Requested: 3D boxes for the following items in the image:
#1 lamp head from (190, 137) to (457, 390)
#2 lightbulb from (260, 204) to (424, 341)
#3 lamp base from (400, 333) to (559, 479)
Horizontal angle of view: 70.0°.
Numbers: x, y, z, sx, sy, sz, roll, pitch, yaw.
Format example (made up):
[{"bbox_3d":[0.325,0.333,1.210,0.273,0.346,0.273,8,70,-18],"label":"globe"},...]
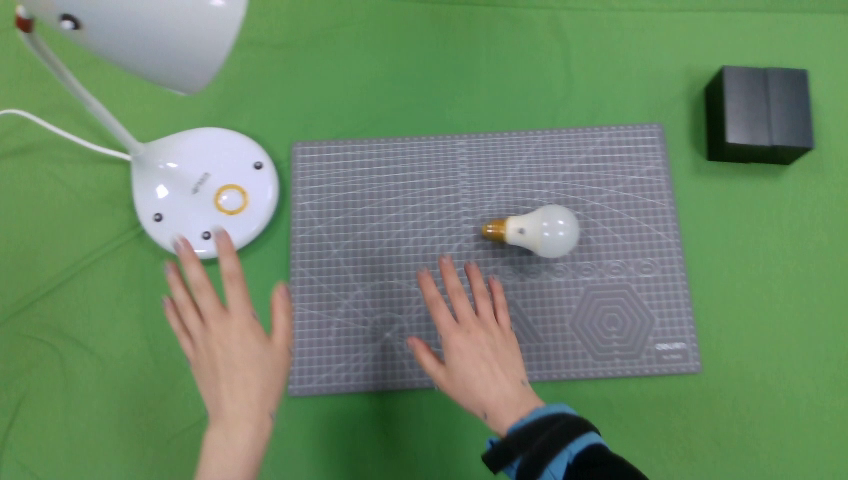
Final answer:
[{"bbox_3d":[-0.058,0.025,0.301,0.113,0.123,0.111,17,60,-32],"label":"lamp head"},{"bbox_3d":[-0.046,0.019,0.279,0.107,0.060,0.059,-17,61,43],"label":"lightbulb"},{"bbox_3d":[0.046,0.150,0.594,0.179,0.181,0.159,9,70,12],"label":"lamp base"}]
